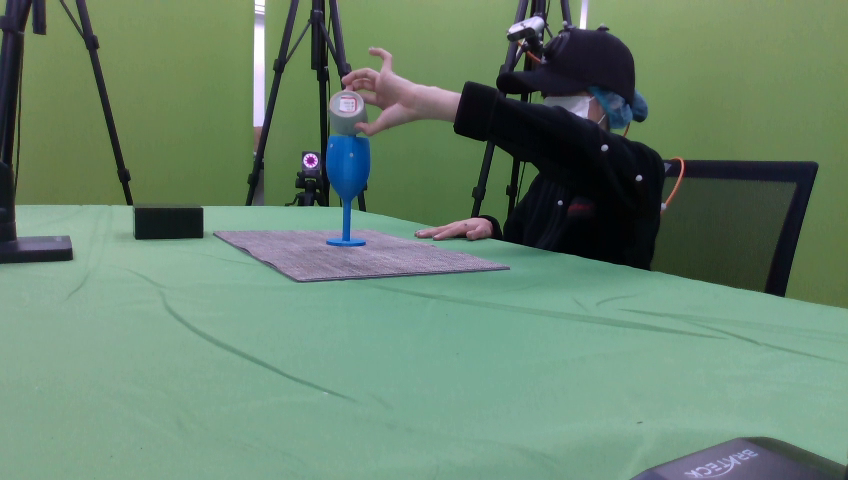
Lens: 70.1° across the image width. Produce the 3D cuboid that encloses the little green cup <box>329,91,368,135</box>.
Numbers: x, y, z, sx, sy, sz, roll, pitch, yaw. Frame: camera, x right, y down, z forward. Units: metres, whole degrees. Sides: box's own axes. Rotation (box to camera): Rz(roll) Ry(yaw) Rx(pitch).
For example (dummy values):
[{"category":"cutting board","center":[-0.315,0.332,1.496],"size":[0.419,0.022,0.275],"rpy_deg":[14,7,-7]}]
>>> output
[{"category":"little green cup","center":[-0.117,-0.196,0.927],"size":[0.061,0.061,0.038],"rpy_deg":[3,-28,-1]}]

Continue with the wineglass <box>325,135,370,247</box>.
[{"category":"wineglass","center":[-0.123,-0.078,0.964],"size":[0.074,0.172,0.073],"rpy_deg":[3,7,0]}]
